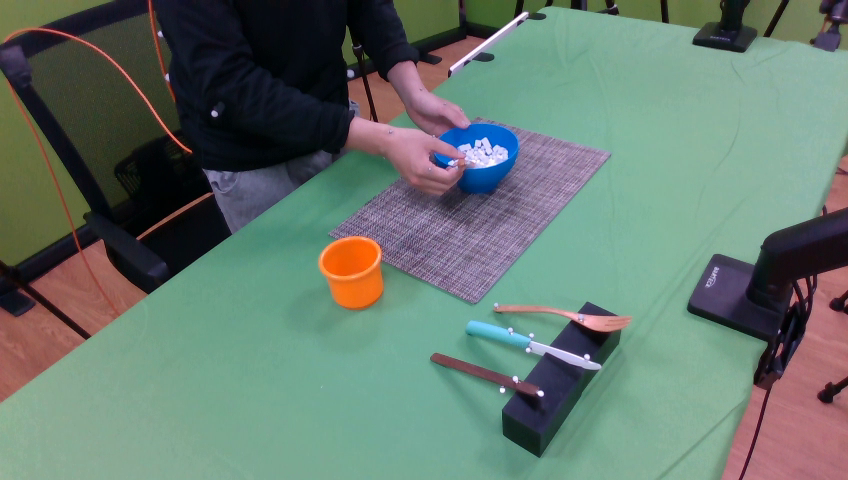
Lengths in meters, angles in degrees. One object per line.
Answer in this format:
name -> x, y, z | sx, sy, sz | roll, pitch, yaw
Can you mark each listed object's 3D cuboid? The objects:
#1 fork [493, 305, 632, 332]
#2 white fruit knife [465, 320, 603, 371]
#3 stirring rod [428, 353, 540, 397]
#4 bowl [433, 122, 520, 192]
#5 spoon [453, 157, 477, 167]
fork -> 0.171, 0.097, 0.783 | 0.205, 0.019, 0.028 | 4, 41, 43
white fruit knife -> 0.128, 0.129, 0.749 | 0.205, 0.027, 0.016 | 10, 44, 43
stirring rod -> 0.068, 0.162, 0.736 | 0.174, 0.006, 0.014 | 8, 41, 47
bowl -> 0.093, -0.137, 1.064 | 0.151, 0.077, 0.150 | -4, 41, 4
spoon -> 0.063, -0.126, 0.973 | 0.041, 0.021, 0.194 | -1, 5, 6
